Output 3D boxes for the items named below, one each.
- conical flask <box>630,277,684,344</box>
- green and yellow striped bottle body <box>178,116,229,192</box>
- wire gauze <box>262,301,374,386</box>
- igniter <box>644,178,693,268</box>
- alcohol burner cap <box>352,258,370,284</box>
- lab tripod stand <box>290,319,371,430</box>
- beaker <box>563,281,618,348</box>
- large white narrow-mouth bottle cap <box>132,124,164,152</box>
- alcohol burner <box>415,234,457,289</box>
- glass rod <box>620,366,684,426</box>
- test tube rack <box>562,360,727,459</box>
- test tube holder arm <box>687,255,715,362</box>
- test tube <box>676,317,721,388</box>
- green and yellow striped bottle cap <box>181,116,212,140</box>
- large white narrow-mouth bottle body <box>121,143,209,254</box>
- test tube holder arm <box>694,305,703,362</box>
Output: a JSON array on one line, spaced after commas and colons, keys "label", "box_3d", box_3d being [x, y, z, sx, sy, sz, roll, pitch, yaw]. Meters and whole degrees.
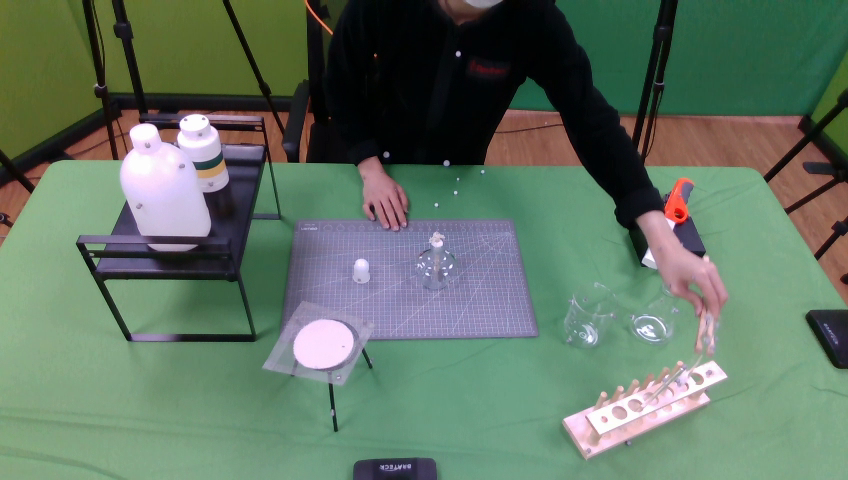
[{"label": "conical flask", "box_3d": [0.409, 0.117, 1.045, 0.075, 0.122, 0.075, 2, 46, -2]}, {"label": "green and yellow striped bottle body", "box_3d": [-0.361, -0.142, 0.989, 0.063, 0.120, 0.063, 2, 46, -2]}, {"label": "wire gauze", "box_3d": [-0.151, 0.148, 0.873, 0.121, 0.011, 0.124, 14, 46, 12]}, {"label": "igniter", "box_3d": [0.488, -0.042, 1.204, 0.057, 0.025, 0.276, 30, 51, 10]}, {"label": "alcohol burner cap", "box_3d": [-0.117, 0.055, 1.118, 0.034, 0.048, 0.033, 1, 45, -1]}, {"label": "lab tripod stand", "box_3d": [-0.146, 0.194, 0.923, 0.148, 0.132, 0.147, 1, 47, -1]}, {"label": "beaker", "box_3d": [0.283, 0.129, 1.041, 0.074, 0.101, 0.083, 11, 46, 6]}, {"label": "large white narrow-mouth bottle cap", "box_3d": [-0.370, -0.137, 0.813, 0.038, 0.024, 0.037, 3, 46, -3]}, {"label": "alcohol burner", "box_3d": [0.022, 0.034, 1.100, 0.078, 0.120, 0.077, 1, 47, 0]}, {"label": "glass rod", "box_3d": [0.322, 0.227, 0.867, 0.008, 0.200, 0.008, 6, 51, -7]}, {"label": "test tube rack", "box_3d": [0.341, 0.247, 0.940, 0.243, 0.085, 0.066, -16, 49, -18]}, {"label": "test tube holder arm", "box_3d": [0.408, 0.097, 0.895, 0.013, 0.015, 0.177, -8, 50, 21]}, {"label": "test tube", "box_3d": [0.392, 0.165, 0.870, 0.017, 0.151, 0.017, 2, 41, -2]}, {"label": "green and yellow striped bottle cap", "box_3d": [-0.358, -0.177, 0.951, 0.045, 0.020, 0.045, 1, 43, -1]}, {"label": "large white narrow-mouth bottle body", "box_3d": [-0.377, -0.077, 0.875, 0.102, 0.195, 0.101, 3, 46, -3]}, {"label": "test tube holder arm", "box_3d": [0.395, 0.133, 0.872, 0.010, 0.015, 0.087, 0, 54, 28]}]
